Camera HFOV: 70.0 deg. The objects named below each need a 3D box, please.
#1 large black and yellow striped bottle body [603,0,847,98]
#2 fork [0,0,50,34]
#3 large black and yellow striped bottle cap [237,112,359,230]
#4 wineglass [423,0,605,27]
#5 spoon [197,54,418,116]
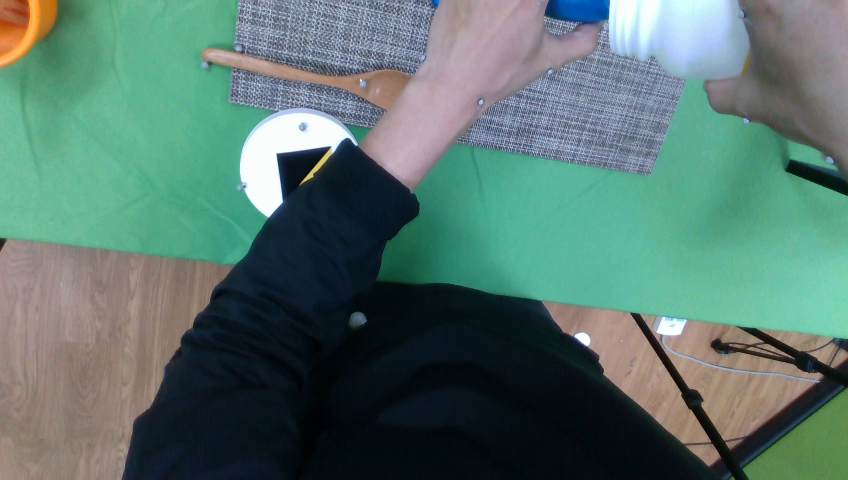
[{"bbox_3d":[0.205,-0.152,0.344,0.183,0.130,0.131,12,116,21],"label":"large black and yellow striped bottle body"},{"bbox_3d":[-0.351,-0.171,0.389,0.028,0.018,0.208,-57,158,18],"label":"fork"},{"bbox_3d":[-0.119,-0.064,0.578,0.115,0.018,0.116,-7,119,-12],"label":"large black and yellow striped bottle cap"},{"bbox_3d":[0.076,-0.203,0.465,0.074,0.170,0.074,-19,119,-39],"label":"wineglass"},{"bbox_3d":[-0.100,-0.142,0.539,0.194,0.021,0.042,6,134,-18],"label":"spoon"}]
